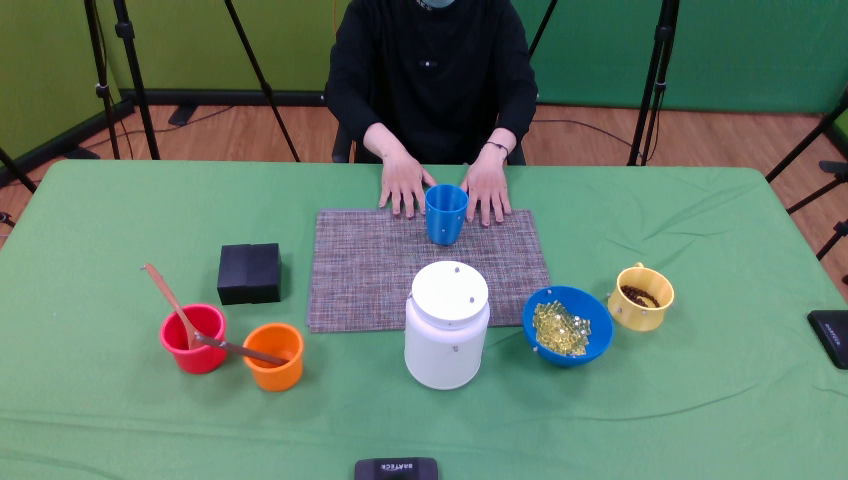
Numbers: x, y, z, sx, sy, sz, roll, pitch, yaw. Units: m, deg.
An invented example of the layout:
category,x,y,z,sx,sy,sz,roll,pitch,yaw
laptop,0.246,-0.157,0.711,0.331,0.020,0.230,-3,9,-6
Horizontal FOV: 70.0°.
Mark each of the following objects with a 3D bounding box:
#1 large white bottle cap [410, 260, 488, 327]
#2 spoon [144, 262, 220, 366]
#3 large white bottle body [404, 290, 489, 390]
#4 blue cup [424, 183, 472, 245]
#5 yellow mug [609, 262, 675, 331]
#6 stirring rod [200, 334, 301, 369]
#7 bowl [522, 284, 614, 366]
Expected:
category,x,y,z,sx,sy,sz,roll,pitch,yaw
large white bottle cap,0.037,0.077,0.893,0.115,0.018,0.114,2,47,-2
spoon,-0.389,0.118,0.971,0.041,0.021,0.194,-34,101,-33
large white bottle body,0.033,0.136,0.955,0.131,0.185,0.130,2,46,-2
blue cup,0.040,-0.045,1.182,0.093,0.101,0.092,2,44,-2
yellow mug,0.393,0.094,1.103,0.100,0.064,0.130,7,45,3
stirring rod,-0.262,0.173,0.930,0.177,0.006,0.014,28,26,-39
bowl,0.235,0.158,1.022,0.151,0.077,0.150,2,46,-2
